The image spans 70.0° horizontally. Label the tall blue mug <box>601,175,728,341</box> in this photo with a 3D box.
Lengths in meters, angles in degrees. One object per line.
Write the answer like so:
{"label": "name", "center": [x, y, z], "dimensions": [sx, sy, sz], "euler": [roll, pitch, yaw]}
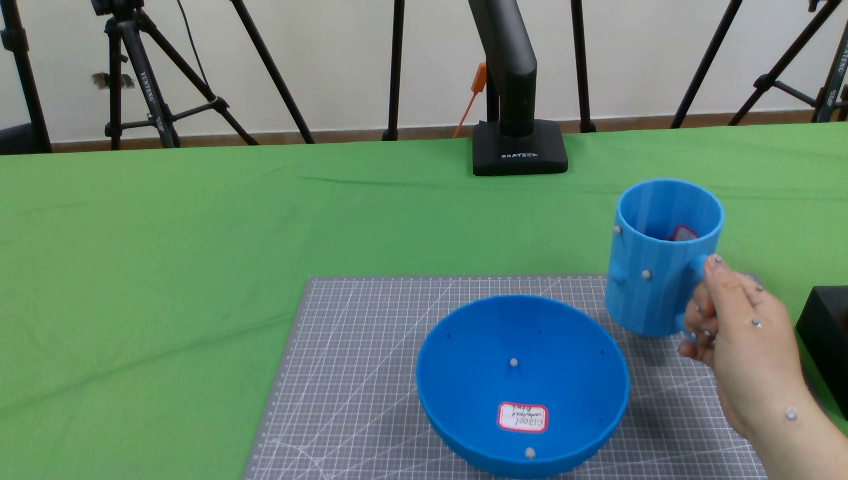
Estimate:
{"label": "tall blue mug", "center": [0.199, 0.020, 0.482], "dimensions": [0.106, 0.109, 0.077], "euler": [29, 55, 33]}

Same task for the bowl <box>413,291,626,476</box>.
{"label": "bowl", "center": [0.069, 0.118, 0.455], "dimensions": [0.151, 0.077, 0.150], "euler": [-3, 39, 3]}
